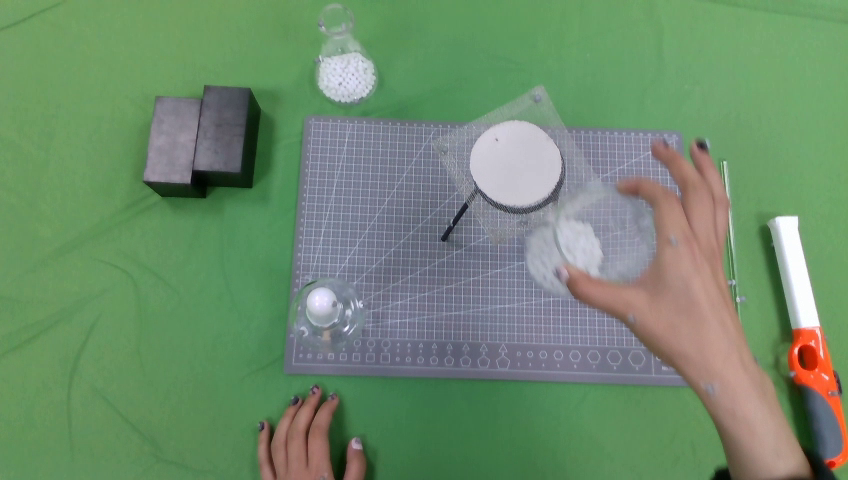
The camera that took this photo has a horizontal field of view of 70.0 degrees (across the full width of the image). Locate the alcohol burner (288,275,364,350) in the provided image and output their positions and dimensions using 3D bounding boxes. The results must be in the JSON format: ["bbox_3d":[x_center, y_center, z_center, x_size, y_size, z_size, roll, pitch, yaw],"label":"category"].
[{"bbox_3d":[-0.100,0.070,0.608,0.078,0.119,0.077,1,75,-3],"label":"alcohol burner"}]

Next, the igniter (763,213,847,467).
[{"bbox_3d":[0.420,0.105,0.668,0.057,0.025,0.275,-2,77,-14],"label":"igniter"}]

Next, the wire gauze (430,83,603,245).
[{"bbox_3d":[0.087,-0.072,0.570,0.125,0.011,0.121,-27,81,-7],"label":"wire gauze"}]

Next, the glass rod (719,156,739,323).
[{"bbox_3d":[0.353,-0.003,0.701,0.008,0.008,0.198,2,77,-2],"label":"glass rod"}]

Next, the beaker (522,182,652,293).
[{"bbox_3d":[0.126,0.002,0.488,0.084,0.100,0.073,-17,80,-10],"label":"beaker"}]

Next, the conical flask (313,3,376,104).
[{"bbox_3d":[-0.093,-0.210,0.672,0.075,0.122,0.075,1,76,-2],"label":"conical flask"}]

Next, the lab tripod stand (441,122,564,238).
[{"bbox_3d":[0.084,-0.052,0.634,0.148,0.132,0.147,0,78,-2],"label":"lab tripod stand"}]

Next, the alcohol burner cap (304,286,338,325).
[{"bbox_3d":[-0.098,0.059,0.573,0.034,0.048,0.033,3,69,-8],"label":"alcohol burner cap"}]
